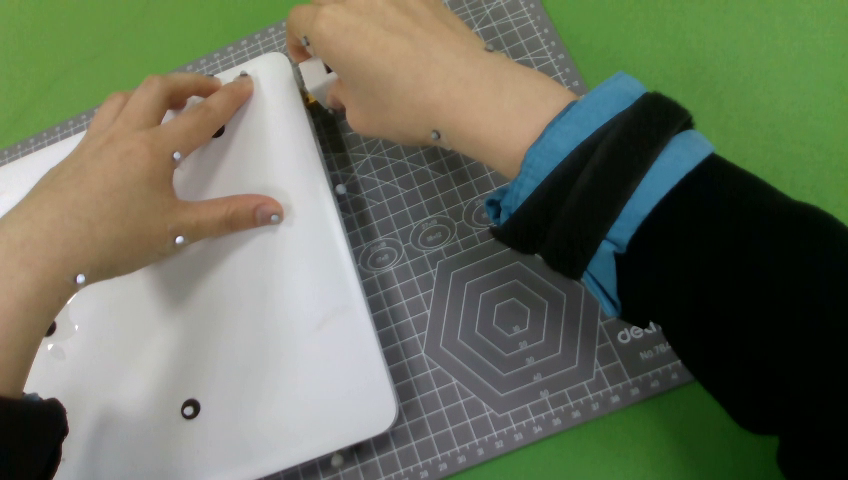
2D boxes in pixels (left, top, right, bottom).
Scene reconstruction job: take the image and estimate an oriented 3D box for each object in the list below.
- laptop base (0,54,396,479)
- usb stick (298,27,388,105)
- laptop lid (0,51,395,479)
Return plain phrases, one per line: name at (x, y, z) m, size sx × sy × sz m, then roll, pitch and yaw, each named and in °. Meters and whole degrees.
laptop base at (-0.209, 0.050, 0.355) m, size 0.354 × 0.023 × 0.234 m, roll -21°, pitch 73°, yaw 5°
usb stick at (-0.053, -0.097, 0.351) m, size 0.059 × 0.027 × 0.021 m, roll -24°, pitch 72°, yaw 14°
laptop lid at (-0.211, 0.049, 0.343) m, size 0.356 × 0.013 × 0.240 m, roll -20°, pitch 72°, yaw 5°
